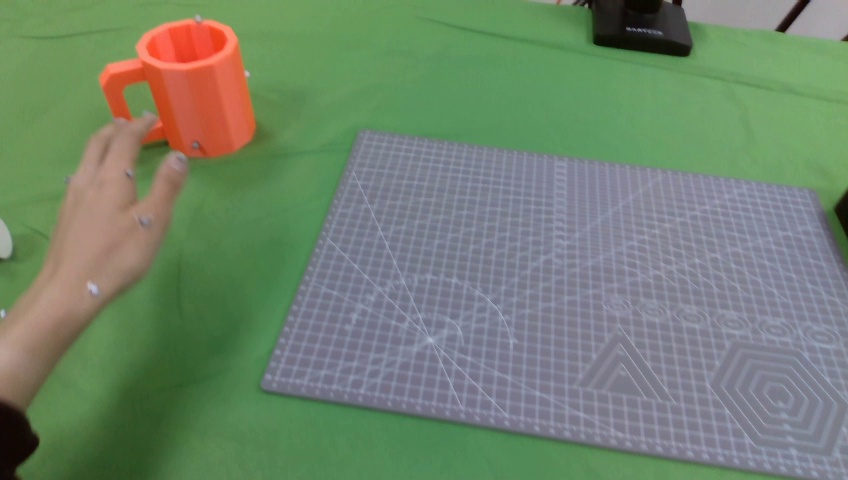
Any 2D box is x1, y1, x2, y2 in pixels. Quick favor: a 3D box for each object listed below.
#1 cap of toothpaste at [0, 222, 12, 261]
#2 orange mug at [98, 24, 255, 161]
[{"bbox_3d":[-0.336,0.000,0.471,0.011,0.038,0.037,-15,49,-11],"label":"cap of toothpaste"},{"bbox_3d":[-0.227,-0.133,0.562,0.126,0.101,0.082,-17,50,-24],"label":"orange mug"}]
